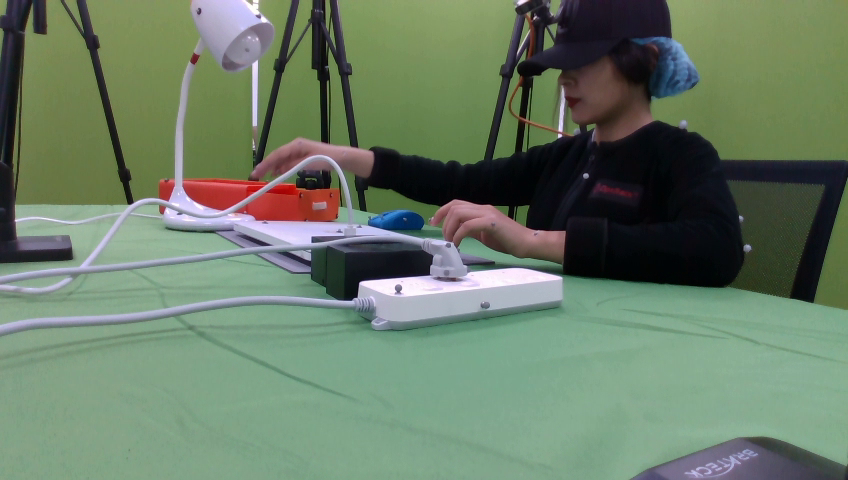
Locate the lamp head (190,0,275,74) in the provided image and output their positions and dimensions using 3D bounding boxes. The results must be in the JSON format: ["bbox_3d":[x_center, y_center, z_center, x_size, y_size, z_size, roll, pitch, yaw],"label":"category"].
[{"bbox_3d":[-0.331,-0.355,1.008,0.123,0.112,0.112,43,15,6],"label":"lamp head"}]

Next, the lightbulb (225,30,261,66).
[{"bbox_3d":[-0.317,-0.335,1.001,0.107,0.059,0.059,46,15,5],"label":"lightbulb"}]

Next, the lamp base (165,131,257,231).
[{"bbox_3d":[-0.407,-0.112,1.119,0.179,0.180,0.161,-1,7,7],"label":"lamp base"}]

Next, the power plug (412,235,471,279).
[{"bbox_3d":[0.017,0.023,0.588,0.035,0.052,0.072,-1,7,-24],"label":"power plug"}]

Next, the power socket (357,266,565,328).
[{"bbox_3d":[0.041,0.049,0.572,0.228,0.032,0.072,-3,8,-35],"label":"power socket"}]

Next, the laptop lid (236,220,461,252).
[{"bbox_3d":[-0.133,-0.010,0.948,0.243,0.013,0.355,0,7,-31],"label":"laptop lid"}]

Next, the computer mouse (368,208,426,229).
[{"bbox_3d":[-0.057,-0.044,1.268,0.118,0.041,0.062,-6,12,-28],"label":"computer mouse"}]

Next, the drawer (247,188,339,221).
[{"bbox_3d":[-0.315,-0.079,1.301,0.211,0.073,0.195,4,8,15],"label":"drawer"}]

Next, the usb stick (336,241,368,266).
[{"bbox_3d":[-0.093,0.016,0.748,0.021,0.027,0.059,-4,5,-36],"label":"usb stick"}]

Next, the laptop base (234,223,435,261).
[{"bbox_3d":[-0.135,0.002,0.949,0.237,0.023,0.352,2,6,-33],"label":"laptop base"}]

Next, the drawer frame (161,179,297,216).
[{"bbox_3d":[-0.421,-0.089,1.329,0.213,0.082,0.202,4,8,16],"label":"drawer frame"}]
